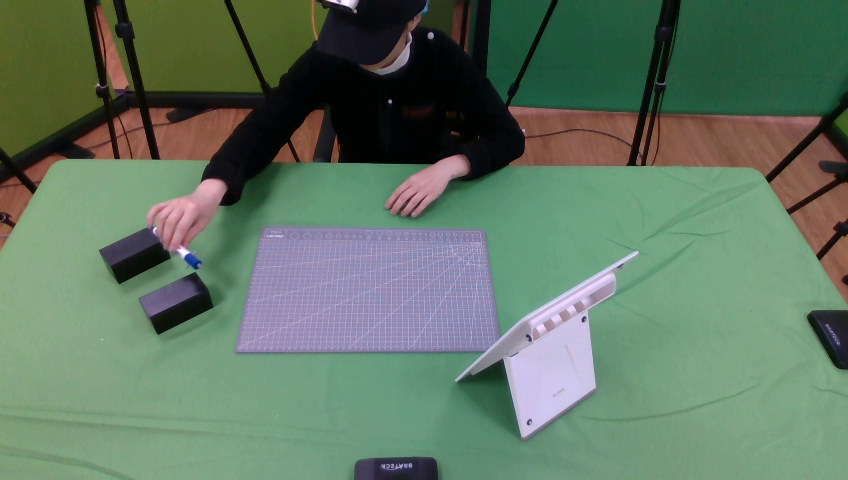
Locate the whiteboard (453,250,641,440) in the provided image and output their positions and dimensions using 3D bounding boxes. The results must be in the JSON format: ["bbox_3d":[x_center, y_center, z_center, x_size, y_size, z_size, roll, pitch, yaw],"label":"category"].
[{"bbox_3d":[0.205,0.174,0.890,0.217,0.306,0.143,-25,72,-25],"label":"whiteboard"}]

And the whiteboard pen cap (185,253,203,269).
[{"bbox_3d":[-0.387,0.035,1.019,0.033,0.018,0.018,30,51,35],"label":"whiteboard pen cap"}]

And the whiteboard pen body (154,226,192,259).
[{"bbox_3d":[-0.429,0.009,1.050,0.140,0.017,0.017,31,51,33],"label":"whiteboard pen body"}]
